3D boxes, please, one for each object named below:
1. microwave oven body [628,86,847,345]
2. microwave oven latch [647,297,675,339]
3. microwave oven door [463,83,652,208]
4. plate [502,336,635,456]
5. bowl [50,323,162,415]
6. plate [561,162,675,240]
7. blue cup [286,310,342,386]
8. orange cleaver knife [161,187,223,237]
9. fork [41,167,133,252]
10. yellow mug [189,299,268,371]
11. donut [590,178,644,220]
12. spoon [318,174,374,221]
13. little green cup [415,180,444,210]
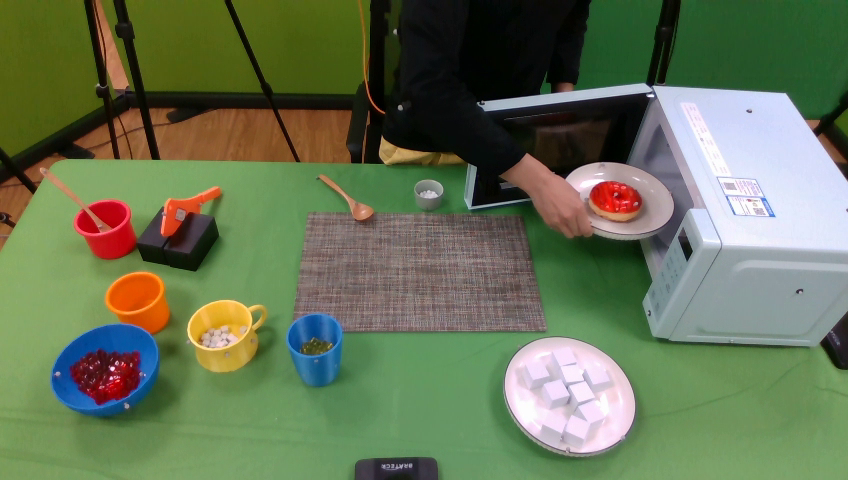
[{"bbox_3d":[0.568,-0.053,1.118,0.326,0.261,0.439,2,45,-1],"label":"microwave oven body"},{"bbox_3d":[0.413,0.134,1.061,0.030,0.029,0.078,5,45,2],"label":"microwave oven latch"},{"bbox_3d":[0.264,-0.189,1.221,0.356,0.245,0.039,-9,48,-13],"label":"microwave oven door"},{"bbox_3d":[0.225,0.248,0.963,0.208,0.039,0.206,2,46,-2],"label":"plate"},{"bbox_3d":[-0.472,0.209,0.924,0.151,0.077,0.150,2,45,-2],"label":"bowl"},{"bbox_3d":[0.362,-0.071,1.147,0.209,0.038,0.208,1,45,0],"label":"plate"},{"bbox_3d":[-0.169,0.179,0.958,0.093,0.101,0.092,1,44,-1],"label":"blue cup"},{"bbox_3d":[-0.448,-0.058,1.181,0.012,0.077,0.211,13,17,6],"label":"orange cleaver knife"},{"bbox_3d":[-0.624,-0.055,1.121,0.208,0.018,0.028,50,51,-15],"label":"fork"},{"bbox_3d":[-0.316,0.148,1.002,0.131,0.064,0.099,-32,56,-31],"label":"yellow mug"},{"bbox_3d":[0.360,-0.077,1.135,0.099,0.048,0.098,0,47,0],"label":"donut"},{"bbox_3d":[-0.168,-0.094,1.274,0.041,0.022,0.192,-39,57,-14],"label":"spoon"},{"bbox_3d":[0.010,-0.094,1.278,0.061,0.039,0.061,3,48,-3],"label":"little green cup"}]
